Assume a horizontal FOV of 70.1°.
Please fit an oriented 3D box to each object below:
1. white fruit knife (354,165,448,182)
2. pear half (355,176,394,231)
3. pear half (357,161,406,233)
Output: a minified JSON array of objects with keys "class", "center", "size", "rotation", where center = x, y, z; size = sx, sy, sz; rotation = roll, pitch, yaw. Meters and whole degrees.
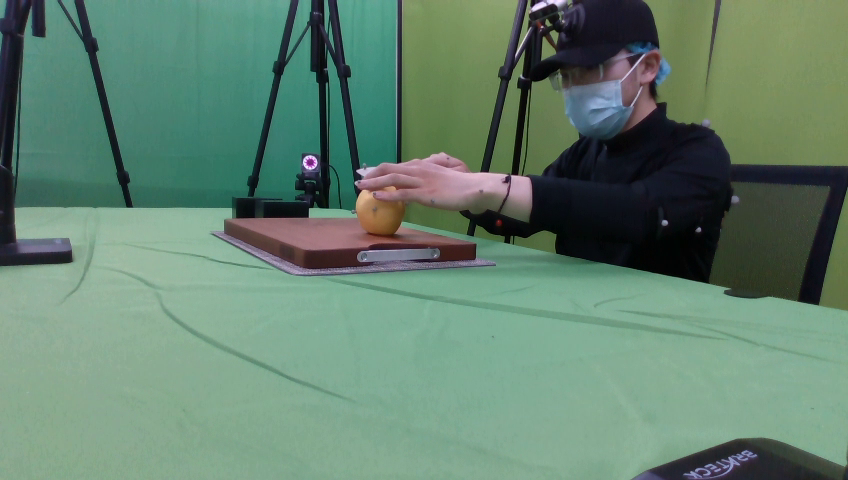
[{"class":"white fruit knife","center":[-0.032,-0.110,0.982],"size":[0.016,0.027,0.208],"rotation":[2,4,43]},{"class":"pear half","center":[-0.083,-0.058,0.959],"size":[0.071,0.088,0.031],"rotation":[-14,16,-42]},{"class":"pear half","center":[-0.059,-0.065,0.929],"size":[0.077,0.110,0.055],"rotation":[-10,17,-41]}]
